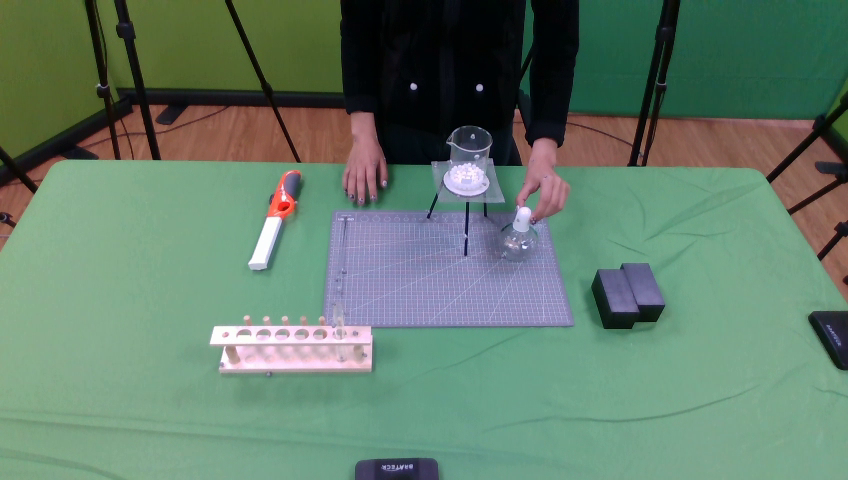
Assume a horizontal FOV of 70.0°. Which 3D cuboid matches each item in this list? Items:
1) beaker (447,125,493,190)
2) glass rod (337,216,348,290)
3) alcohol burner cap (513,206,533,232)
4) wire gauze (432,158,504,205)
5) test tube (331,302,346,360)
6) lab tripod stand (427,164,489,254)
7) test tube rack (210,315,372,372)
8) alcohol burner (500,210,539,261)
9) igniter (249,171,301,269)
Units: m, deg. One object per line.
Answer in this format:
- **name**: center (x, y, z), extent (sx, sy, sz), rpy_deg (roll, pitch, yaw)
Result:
- **beaker**: center (0.079, -0.148, 1.106), extent (0.084, 0.101, 0.073), rpy_deg (-3, 47, -7)
- **glass rod**: center (-0.158, 0.021, 1.171), extent (0.008, 0.008, 0.198), rpy_deg (1, 43, -2)
- **alcohol burner cap**: center (0.187, -0.042, 1.135), extent (0.034, 0.048, 0.033), rpy_deg (5, 40, -4)
- **wire gauze**: center (0.081, -0.111, 1.138), extent (0.125, 0.011, 0.120), rpy_deg (0, 48, -7)
- **test tube**: center (-0.132, 0.144, 0.938), extent (0.017, 0.151, 0.017), rpy_deg (2, 49, -3)
- **lab tripod stand**: center (0.078, -0.068, 1.188), extent (0.148, 0.132, 0.147), rpy_deg (3, 47, -3)
- **test tube rack**: center (-0.208, 0.163, 0.982), extent (0.242, 0.085, 0.066), rpy_deg (1, 46, -4)
- **alcohol burner**: center (0.185, -0.016, 1.160), extent (0.078, 0.120, 0.077), rpy_deg (2, 48, -2)
- **igniter**: center (-0.297, -0.049, 1.220), extent (0.057, 0.025, 0.275), rpy_deg (-1, 45, 9)
